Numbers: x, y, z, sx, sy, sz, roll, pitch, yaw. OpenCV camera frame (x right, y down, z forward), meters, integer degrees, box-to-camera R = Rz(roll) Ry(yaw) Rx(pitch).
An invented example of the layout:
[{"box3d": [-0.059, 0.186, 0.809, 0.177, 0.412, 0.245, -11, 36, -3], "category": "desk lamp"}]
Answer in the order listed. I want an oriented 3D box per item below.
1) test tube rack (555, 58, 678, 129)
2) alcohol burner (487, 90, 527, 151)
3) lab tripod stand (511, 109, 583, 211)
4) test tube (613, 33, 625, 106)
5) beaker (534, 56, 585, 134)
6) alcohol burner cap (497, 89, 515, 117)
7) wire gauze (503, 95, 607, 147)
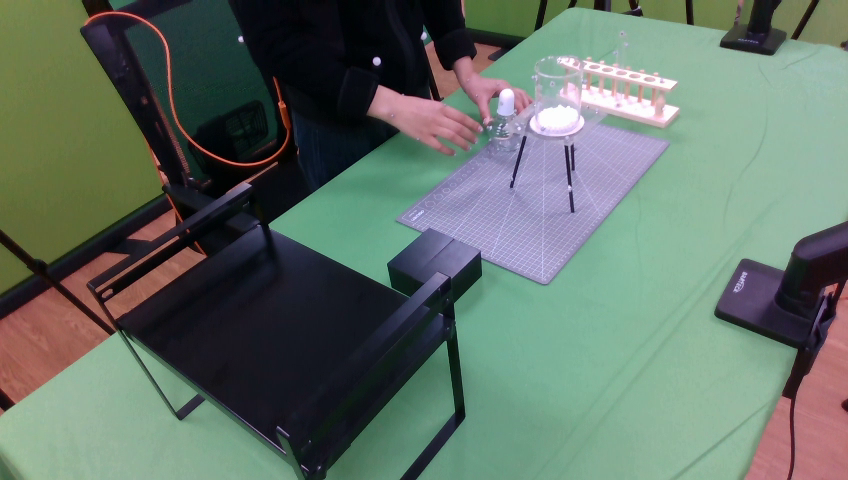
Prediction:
[{"box3d": [0.390, -0.307, 1.229, 0.240, 0.085, 0.067, 25, 50, 33], "category": "test tube rack"}, {"box3d": [0.157, -0.230, 1.148, 0.078, 0.119, 0.077, -5, 41, 5], "category": "alcohol burner"}, {"box3d": [0.220, -0.138, 1.014, 0.148, 0.132, 0.147, -3, 41, 3], "category": "lab tripod stand"}, {"box3d": [0.380, -0.330, 1.180, 0.017, 0.151, 0.017, -7, 41, 6], "category": "test tube"}, {"box3d": [0.209, -0.226, 0.942, 0.074, 0.101, 0.083, -2, 41, 8], "category": "beaker"}, {"box3d": [0.153, -0.258, 1.125, 0.034, 0.048, 0.033, 0, 40, 0], "category": "alcohol burner cap"}, {"box3d": [0.212, -0.191, 0.976, 0.120, 0.011, 0.125, 24, 52, 32], "category": "wire gauze"}]
